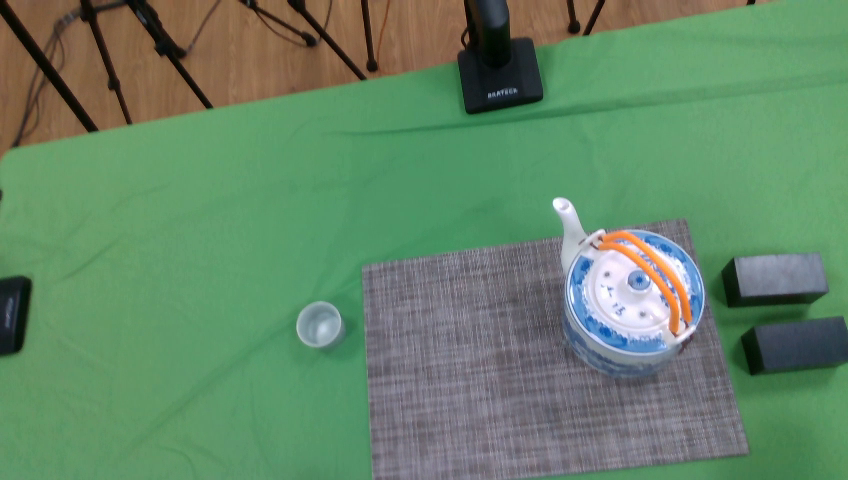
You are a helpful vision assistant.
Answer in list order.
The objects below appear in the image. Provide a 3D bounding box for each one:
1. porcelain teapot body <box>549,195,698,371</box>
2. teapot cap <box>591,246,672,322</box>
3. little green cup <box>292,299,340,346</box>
[{"bbox_3d":[0.208,0.039,0.689,0.145,0.227,0.203,-38,67,-6],"label":"porcelain teapot body"},{"bbox_3d":[0.220,0.044,0.642,0.085,0.044,0.084,-4,66,8],"label":"teapot cap"},{"bbox_3d":[-0.144,0.115,0.824,0.061,0.039,0.061,-3,67,9],"label":"little green cup"}]
